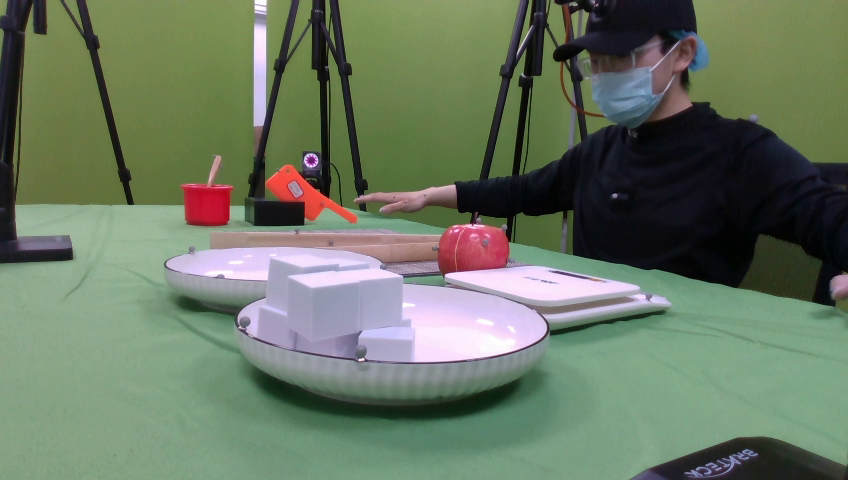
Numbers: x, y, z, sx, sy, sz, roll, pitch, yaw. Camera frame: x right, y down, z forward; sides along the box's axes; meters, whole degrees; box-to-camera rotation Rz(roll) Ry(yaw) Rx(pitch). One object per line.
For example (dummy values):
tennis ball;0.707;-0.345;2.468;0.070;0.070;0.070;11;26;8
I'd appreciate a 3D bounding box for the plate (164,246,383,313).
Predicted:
plate;-0.145;0.038;0.600;0.209;0.038;0.209;2;7;0

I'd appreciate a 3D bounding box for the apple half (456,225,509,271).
apple half;0.071;0.021;0.662;0.082;0.081;0.032;-4;7;-42

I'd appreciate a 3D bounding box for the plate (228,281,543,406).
plate;-0.025;0.067;0.413;0.208;0.039;0.207;3;7;0

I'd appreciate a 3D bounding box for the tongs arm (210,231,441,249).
tongs arm;-0.106;0.004;0.876;0.386;0.026;0.050;0;7;-20

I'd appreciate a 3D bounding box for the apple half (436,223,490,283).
apple half;0.045;0.017;0.691;0.081;0.074;0.053;-9;10;-41

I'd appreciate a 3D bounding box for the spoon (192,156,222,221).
spoon;-0.430;-0.108;1.222;0.041;0.021;0.193;-1;52;0

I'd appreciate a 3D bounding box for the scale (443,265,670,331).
scale;0.131;0.052;0.602;0.202;0.031;0.148;-2;9;-37

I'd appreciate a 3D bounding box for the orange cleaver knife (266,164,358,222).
orange cleaver knife;-0.237;-0.082;1.295;0.212;0.077;0.012;35;-9;-26

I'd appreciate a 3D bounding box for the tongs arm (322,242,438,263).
tongs arm;-0.070;0.017;0.800;0.390;0.028;0.028;-2;5;-34
